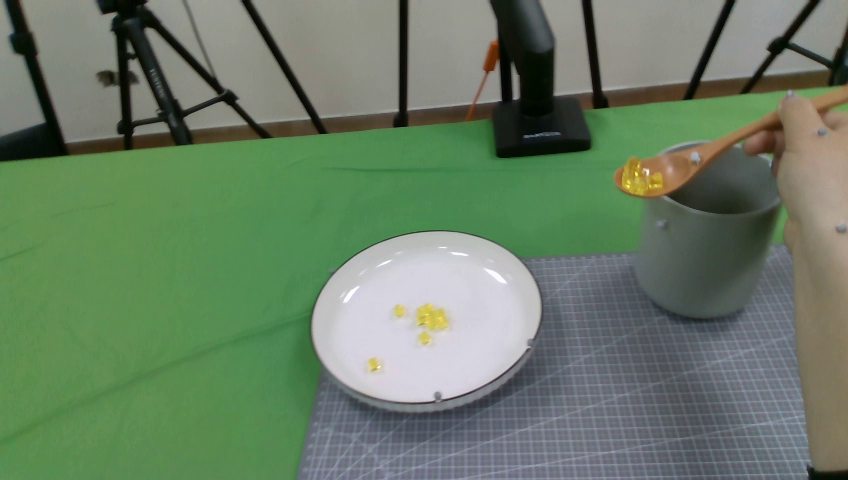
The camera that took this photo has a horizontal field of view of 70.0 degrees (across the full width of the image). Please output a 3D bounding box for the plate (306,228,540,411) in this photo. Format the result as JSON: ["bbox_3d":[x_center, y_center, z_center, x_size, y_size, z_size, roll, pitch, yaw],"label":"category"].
[{"bbox_3d":[0.000,0.069,0.549,0.207,0.039,0.205,-4,41,4],"label":"plate"}]

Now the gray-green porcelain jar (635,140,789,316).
[{"bbox_3d":[0.241,-0.006,0.525,0.106,0.128,0.105,-5,41,5],"label":"gray-green porcelain jar"}]

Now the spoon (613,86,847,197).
[{"bbox_3d":[0.229,-0.074,0.424,0.193,0.022,0.041,-24,40,15],"label":"spoon"}]
